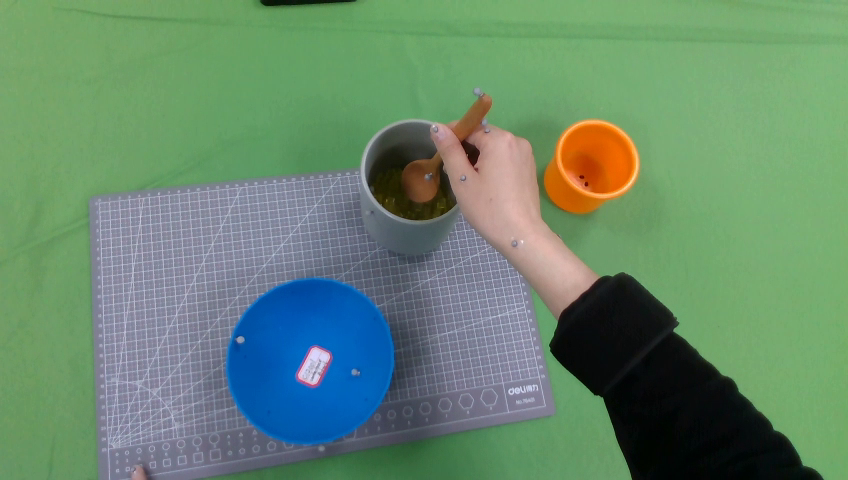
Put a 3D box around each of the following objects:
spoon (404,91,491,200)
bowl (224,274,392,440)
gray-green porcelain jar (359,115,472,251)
[{"bbox_3d":[0.017,-0.077,0.529,0.021,0.194,0.041,-33,87,-20],"label":"spoon"},{"bbox_3d":[-0.107,0.114,0.584,0.151,0.077,0.150,2,75,-6],"label":"bowl"},{"bbox_3d":[-0.013,-0.050,0.614,0.106,0.127,0.105,2,74,-6],"label":"gray-green porcelain jar"}]
